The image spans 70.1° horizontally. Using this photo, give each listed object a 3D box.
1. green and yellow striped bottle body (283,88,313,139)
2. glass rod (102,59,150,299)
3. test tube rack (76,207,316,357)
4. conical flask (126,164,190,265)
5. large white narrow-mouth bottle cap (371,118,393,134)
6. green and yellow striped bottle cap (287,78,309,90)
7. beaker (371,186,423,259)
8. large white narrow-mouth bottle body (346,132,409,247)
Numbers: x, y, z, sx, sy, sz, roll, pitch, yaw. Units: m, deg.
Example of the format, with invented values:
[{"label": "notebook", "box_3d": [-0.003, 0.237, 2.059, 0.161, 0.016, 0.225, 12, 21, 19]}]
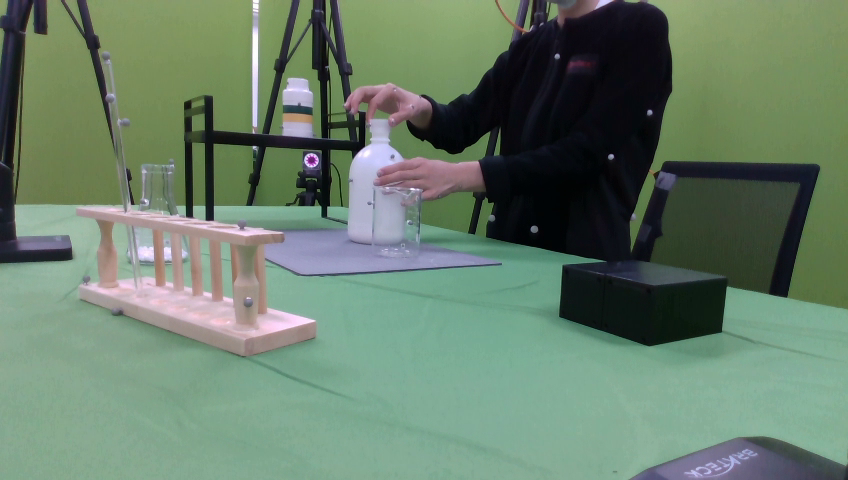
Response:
[{"label": "green and yellow striped bottle body", "box_3d": [-0.266, -0.275, 1.275, 0.063, 0.119, 0.063, 3, 7, 0]}, {"label": "glass rod", "box_3d": [-0.243, -0.045, 0.496, 0.008, 0.199, 0.008, -4, 13, 1]}, {"label": "test tube rack", "box_3d": [-0.196, 0.023, 0.500, 0.241, 0.085, 0.067, 8, 9, 36]}, {"label": "conical flask", "box_3d": [-0.332, -0.033, 0.756, 0.075, 0.122, 0.075, 2, 7, 0]}, {"label": "large white narrow-mouth bottle cap", "box_3d": [-0.068, -0.187, 0.995, 0.038, 0.024, 0.037, 4, 8, 0]}, {"label": "green and yellow striped bottle cap", "box_3d": [-0.265, -0.326, 1.268, 0.045, 0.020, 0.045, 4, 6, 0]}, {"label": "beaker", "box_3d": [-0.038, -0.025, 0.868, 0.074, 0.100, 0.083, -1, 8, -22]}, {"label": "large white narrow-mouth bottle body", "box_3d": [-0.076, -0.091, 1.010, 0.102, 0.194, 0.102, 4, 8, 0]}]
